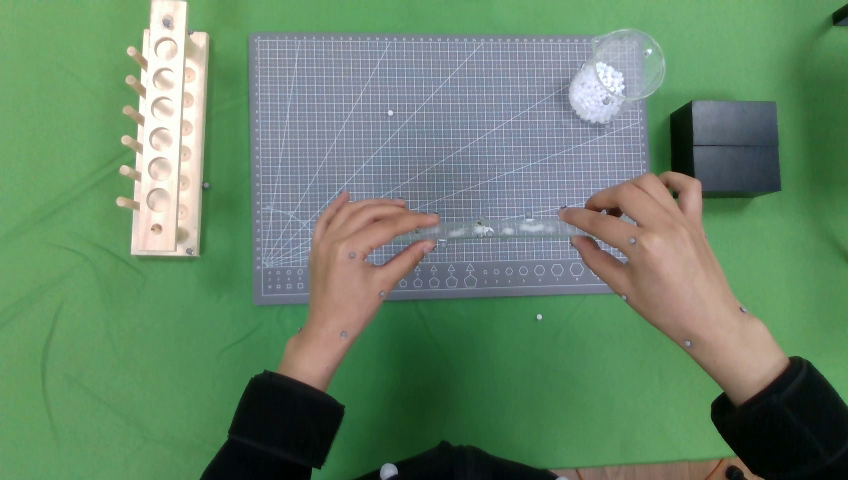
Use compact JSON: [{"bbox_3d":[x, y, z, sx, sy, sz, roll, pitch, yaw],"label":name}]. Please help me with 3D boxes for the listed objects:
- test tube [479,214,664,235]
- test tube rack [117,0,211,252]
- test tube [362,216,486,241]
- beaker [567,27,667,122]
[{"bbox_3d":[0.120,-0.013,0.492,0.150,0.017,0.017,-1,85,-2],"label":"test tube"},{"bbox_3d":[-0.267,-0.112,0.613,0.067,0.085,0.242,2,86,-5],"label":"test tube rack"},{"bbox_3d":[-0.005,-0.009,0.543,0.017,0.149,0.017,2,86,-44],"label":"test tube"},{"bbox_3d":[0.200,-0.174,0.653,0.084,0.100,0.074,36,83,0],"label":"beaker"}]
